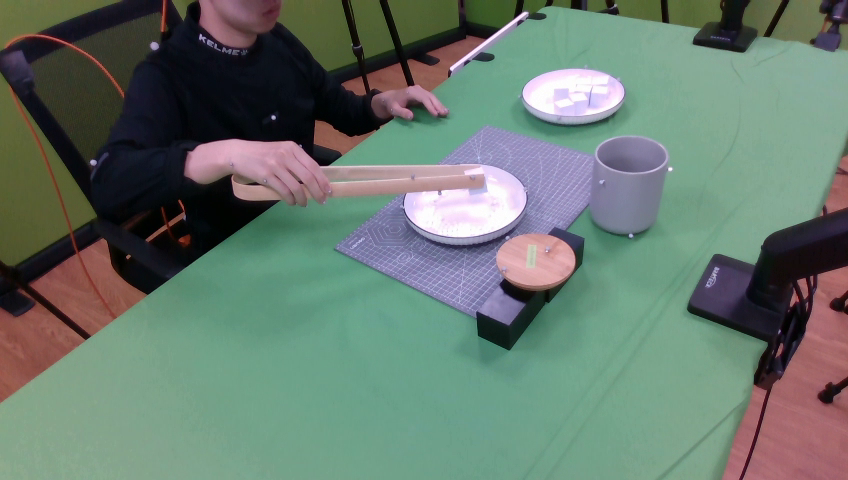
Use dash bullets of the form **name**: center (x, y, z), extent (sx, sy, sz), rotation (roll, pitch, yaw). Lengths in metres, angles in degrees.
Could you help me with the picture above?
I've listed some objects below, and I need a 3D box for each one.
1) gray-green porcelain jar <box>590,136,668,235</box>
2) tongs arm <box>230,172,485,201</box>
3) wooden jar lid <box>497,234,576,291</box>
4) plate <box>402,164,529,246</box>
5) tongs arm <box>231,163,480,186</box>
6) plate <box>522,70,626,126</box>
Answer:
- **gray-green porcelain jar**: center (0.314, -0.080, 0.937), extent (0.106, 0.127, 0.105), rotation (-4, 41, 4)
- **tongs arm**: center (-0.097, -0.089, 0.932), extent (0.386, 0.026, 0.050), rotation (-6, 38, -13)
- **wooden jar lid**: center (0.155, 0.032, 0.834), extent (0.108, 0.021, 0.108), rotation (-5, 40, 5)
- **plate**: center (0.069, -0.056, 1.008), extent (0.209, 0.038, 0.208), rotation (-4, 40, 4)
- **tongs arm**: center (-0.100, -0.102, 0.950), extent (0.389, 0.028, 0.028), rotation (-3, 41, -9)
- **plate**: center (0.308, -0.290, 1.251), extent (0.207, 0.039, 0.206), rotation (-4, 40, 4)
